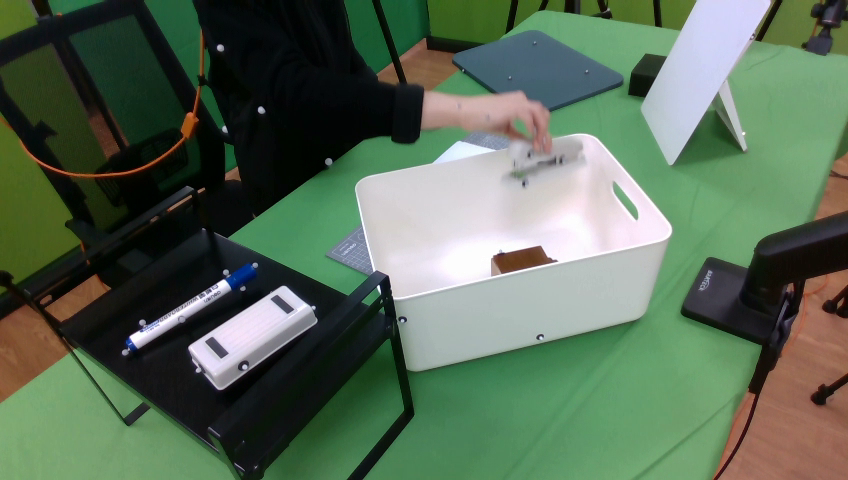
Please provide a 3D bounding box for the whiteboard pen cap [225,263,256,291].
[{"bbox_3d":[-0.204,0.041,0.668,0.033,0.018,0.018,-36,48,-22],"label":"whiteboard pen cap"}]

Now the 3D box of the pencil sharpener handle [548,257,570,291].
[{"bbox_3d":[0.182,0.045,0.801,0.031,0.068,0.035,-13,55,-7],"label":"pencil sharpener handle"}]

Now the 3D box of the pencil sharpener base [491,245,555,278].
[{"bbox_3d":[0.134,0.068,0.801,0.077,0.107,0.061,-13,42,-7],"label":"pencil sharpener base"}]

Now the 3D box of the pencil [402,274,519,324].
[{"bbox_3d":[0.056,0.082,0.871,0.195,0.012,0.012,-20,42,-20],"label":"pencil"}]

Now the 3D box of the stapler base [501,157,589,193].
[{"bbox_3d":[0.166,-0.097,0.830,0.131,0.024,0.041,-19,37,-24],"label":"stapler base"}]

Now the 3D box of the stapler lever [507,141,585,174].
[{"bbox_3d":[0.165,-0.120,0.817,0.119,0.040,0.026,-18,36,-24],"label":"stapler lever"}]

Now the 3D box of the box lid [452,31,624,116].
[{"bbox_3d":[0.256,-0.401,1.419,0.264,0.015,0.368,-22,43,-17],"label":"box lid"}]

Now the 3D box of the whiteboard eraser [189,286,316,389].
[{"bbox_3d":[-0.166,0.096,0.593,0.113,0.042,0.055,-36,47,-29],"label":"whiteboard eraser"}]

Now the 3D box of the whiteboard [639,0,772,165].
[{"bbox_3d":[0.543,-0.298,1.076,0.144,0.305,0.216,12,40,-7],"label":"whiteboard"}]

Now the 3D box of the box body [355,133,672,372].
[{"bbox_3d":[0.108,0.013,0.834,0.365,0.161,0.252,-12,41,-6],"label":"box body"}]

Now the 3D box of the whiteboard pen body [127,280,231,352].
[{"bbox_3d":[-0.248,0.072,0.645,0.141,0.017,0.017,-35,47,-23],"label":"whiteboard pen body"}]
